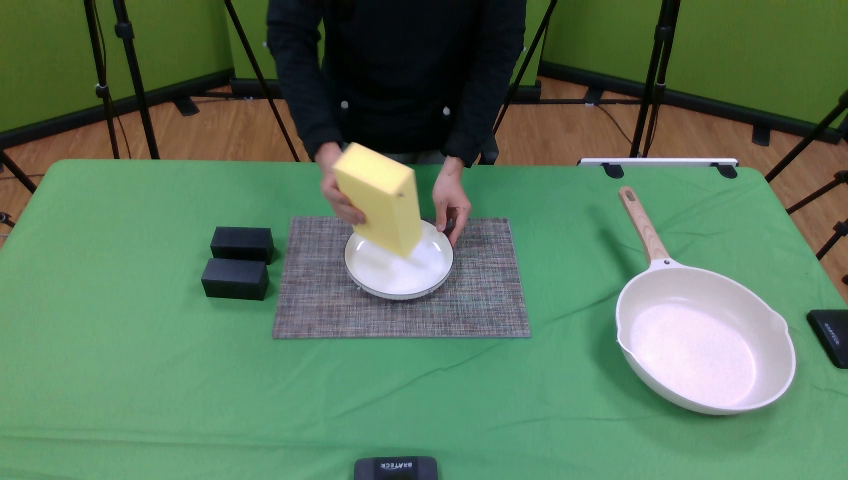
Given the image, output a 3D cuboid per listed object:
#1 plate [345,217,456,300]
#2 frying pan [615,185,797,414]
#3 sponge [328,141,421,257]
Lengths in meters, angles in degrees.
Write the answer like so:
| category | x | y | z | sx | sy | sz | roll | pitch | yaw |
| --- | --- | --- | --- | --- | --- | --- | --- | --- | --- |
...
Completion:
| category | x | y | z | sx | sy | sz | roll | pitch | yaw |
| --- | --- | --- | --- | --- | --- | --- | --- | --- | --- |
| plate | -0.045 | 0.035 | 1.146 | 0.208 | 0.039 | 0.206 | 2 | 46 | -2 |
| frying pan | 0.450 | 0.087 | 1.092 | 0.307 | 0.103 | 0.484 | -4 | 55 | -10 |
| sponge | -0.078 | -0.064 | 1.034 | 0.118 | 0.208 | 0.061 | 26 | 67 | 19 |
